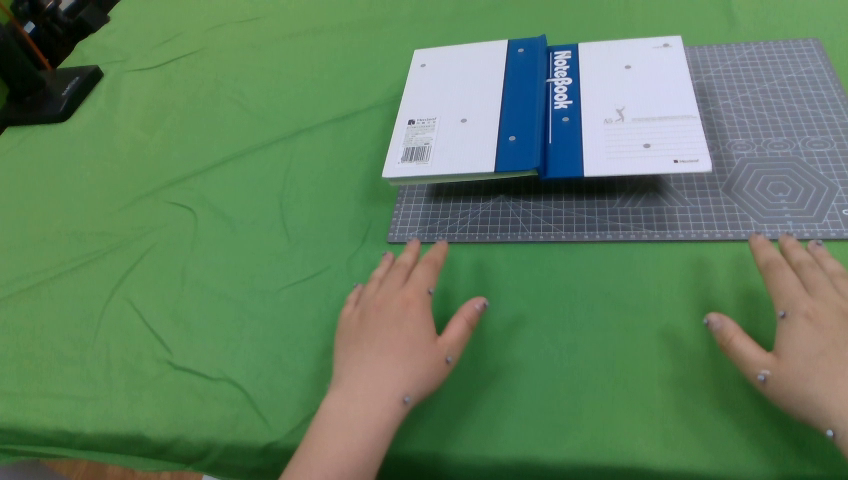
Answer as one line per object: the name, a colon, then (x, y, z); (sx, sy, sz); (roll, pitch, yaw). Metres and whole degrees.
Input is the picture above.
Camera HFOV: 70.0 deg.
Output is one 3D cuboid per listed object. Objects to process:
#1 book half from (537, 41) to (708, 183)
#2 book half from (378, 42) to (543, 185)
book half: (0.184, -0.130, 0.589); (0.143, 0.007, 0.208); (0, 49, 12)
book half: (0.044, -0.132, 0.615); (0.148, 0.016, 0.208); (-1, 50, 14)
